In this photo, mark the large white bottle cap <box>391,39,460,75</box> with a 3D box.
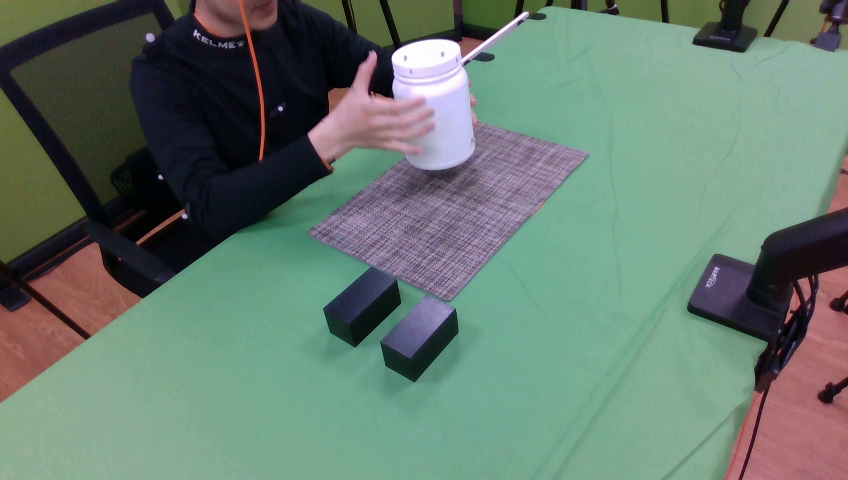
[{"bbox_3d":[0.002,-0.302,0.995,0.115,0.018,0.114,-7,37,6],"label":"large white bottle cap"}]

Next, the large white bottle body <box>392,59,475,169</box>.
[{"bbox_3d":[0.017,-0.231,1.049,0.130,0.185,0.130,-6,37,5],"label":"large white bottle body"}]
